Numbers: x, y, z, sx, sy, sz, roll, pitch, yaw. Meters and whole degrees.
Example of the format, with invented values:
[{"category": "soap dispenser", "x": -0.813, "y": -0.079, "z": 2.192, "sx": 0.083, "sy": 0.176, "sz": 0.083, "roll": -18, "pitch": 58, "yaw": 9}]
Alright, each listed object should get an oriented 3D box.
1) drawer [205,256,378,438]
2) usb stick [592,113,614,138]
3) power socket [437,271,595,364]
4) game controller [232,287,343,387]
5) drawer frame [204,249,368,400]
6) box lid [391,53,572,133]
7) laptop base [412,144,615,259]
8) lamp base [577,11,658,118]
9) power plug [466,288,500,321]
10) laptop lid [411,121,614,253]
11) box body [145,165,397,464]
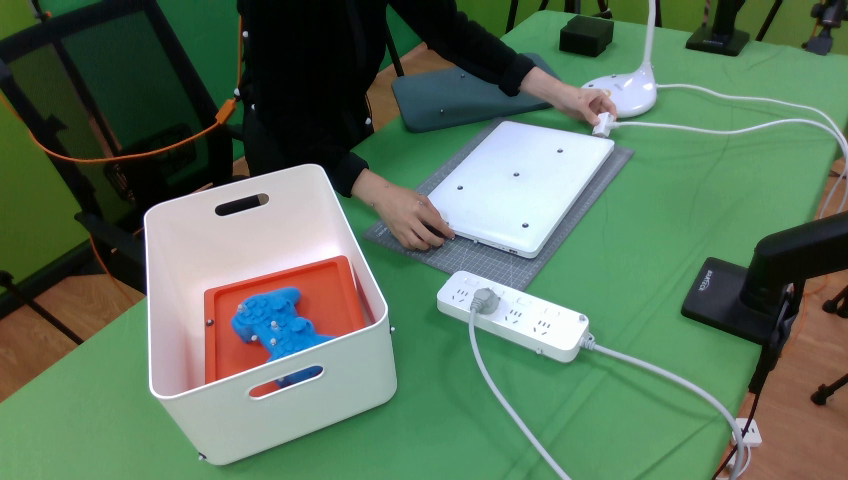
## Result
[{"category": "drawer", "x": -0.177, "y": 0.130, "z": 0.787, "sx": 0.195, "sy": 0.073, "sz": 0.210, "roll": -14, "pitch": 39, "yaw": -9}, {"category": "usb stick", "x": 0.339, "y": -0.211, "z": 1.152, "sx": 0.027, "sy": 0.022, "sz": 0.059, "roll": 7, "pitch": 73, "yaw": 57}, {"category": "power socket", "x": 0.118, "y": 0.102, "z": 0.830, "sx": 0.225, "sy": 0.033, "sz": 0.072, "roll": 20, "pitch": 48, "yaw": 28}, {"category": "game controller", "x": -0.166, "y": 0.110, "z": 0.734, "sx": 0.097, "sy": 0.052, "sz": 0.154, "roll": -35, "pitch": 47, "yaw": -21}, {"category": "drawer frame", "x": -0.174, "y": 0.129, "z": 0.790, "sx": 0.202, "sy": 0.083, "sz": 0.212, "roll": -16, "pitch": 45, "yaw": -8}, {"category": "box lid", "x": 0.123, "y": -0.339, "z": 1.366, "sx": 0.372, "sy": 0.015, "sz": 0.261, "roll": -12, "pitch": 40, "yaw": -5}, {"category": "laptop base", "x": 0.167, "y": -0.102, "z": 1.075, "sx": 0.234, "sy": 0.023, "sz": 0.355, "roll": 17, "pitch": 45, "yaw": 30}, {"category": "lamp base", "x": 0.406, "y": -0.363, "z": 1.222, "sx": 0.180, "sy": 0.181, "sz": 0.159, "roll": -20, "pitch": 42, "yaw": -18}, {"category": "power plug", "x": 0.072, "y": 0.093, "z": 0.813, "sx": 0.073, "sy": 0.053, "sz": 0.035, "roll": -37, "pitch": 49, "yaw": -28}, {"category": "laptop lid", "x": 0.164, "y": -0.112, "z": 1.068, "sx": 0.240, "sy": 0.013, "sz": 0.357, "roll": 19, "pitch": 46, "yaw": 30}, {"category": "box body", "x": -0.205, "y": 0.080, "z": 0.802, "sx": 0.255, "sy": 0.161, "sz": 0.361, "roll": -18, "pitch": 41, "yaw": -13}]
